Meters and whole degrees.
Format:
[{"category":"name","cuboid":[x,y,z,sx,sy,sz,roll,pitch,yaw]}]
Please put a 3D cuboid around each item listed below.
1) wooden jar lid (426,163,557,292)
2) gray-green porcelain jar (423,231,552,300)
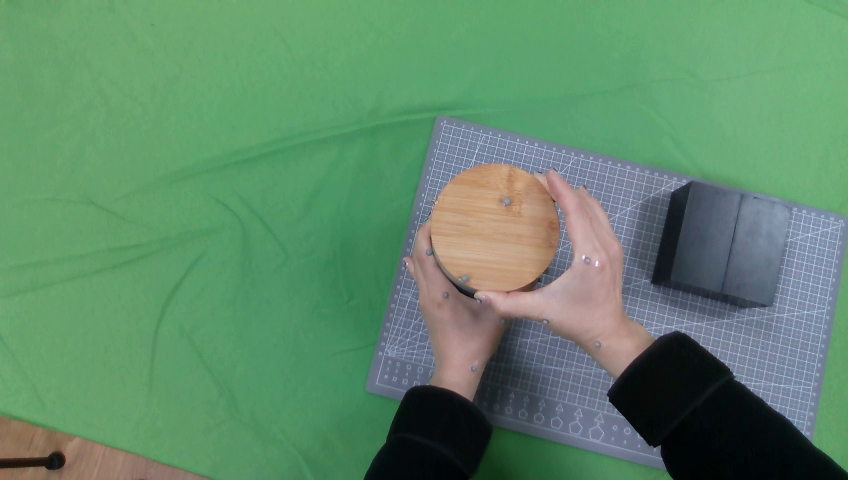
[{"category":"wooden jar lid","cuboid":[0.056,-0.010,0.506,0.108,0.021,0.108,0,85,-2]},{"category":"gray-green porcelain jar","cuboid":[0.054,0.004,0.570,0.106,0.126,0.105,1,84,-5]}]
